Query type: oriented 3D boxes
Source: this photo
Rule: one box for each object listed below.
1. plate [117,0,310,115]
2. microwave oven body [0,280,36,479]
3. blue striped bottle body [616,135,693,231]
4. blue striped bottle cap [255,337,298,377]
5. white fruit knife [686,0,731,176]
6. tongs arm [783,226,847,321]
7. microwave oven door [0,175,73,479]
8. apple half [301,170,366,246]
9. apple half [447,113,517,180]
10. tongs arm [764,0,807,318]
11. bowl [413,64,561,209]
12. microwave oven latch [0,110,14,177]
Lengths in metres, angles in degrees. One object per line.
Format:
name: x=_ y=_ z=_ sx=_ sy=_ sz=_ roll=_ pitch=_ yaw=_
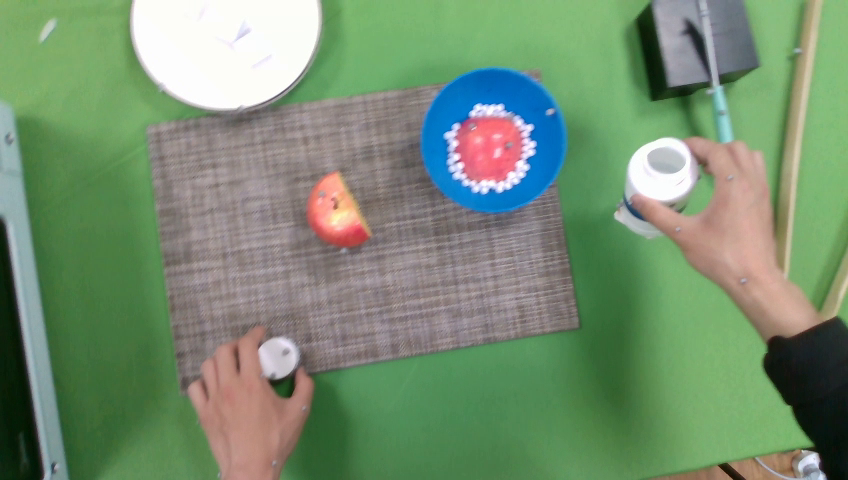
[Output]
plate: x=-0.230 y=-0.238 z=0.676 sx=0.208 sy=0.039 sz=0.207 roll=0 pitch=87 yaw=-2
microwave oven body: x=-0.570 y=0.090 z=0.532 sx=0.326 sy=0.260 sz=0.441 roll=-11 pitch=88 yaw=-3
blue striped bottle body: x=0.226 y=-0.057 z=0.597 sx=0.063 sy=0.122 sz=0.062 roll=-4 pitch=70 yaw=12
blue striped bottle cap: x=-0.162 y=0.129 z=0.666 sx=0.044 sy=0.020 sz=0.044 roll=0 pitch=84 yaw=-4
white fruit knife: x=0.311 y=-0.168 z=0.667 sx=0.016 sy=0.027 sz=0.208 roll=-15 pitch=105 yaw=15
tongs arm: x=0.501 y=-0.084 z=0.695 sx=0.051 sy=0.026 sz=0.384 roll=20 pitch=88 yaw=0
microwave oven door: x=-0.417 y=0.102 z=0.532 sx=0.039 sy=0.244 sz=0.355 roll=-12 pitch=87 yaw=-2
apple half: x=-0.102 y=-0.027 z=0.648 sx=0.053 sy=0.074 sz=0.081 roll=-29 pitch=92 yaw=1
apple half: x=0.064 y=-0.103 z=0.651 sx=0.081 sy=0.033 sz=0.081 roll=0 pitch=86 yaw=-2
tongs arm: x=0.422 y=-0.105 z=0.697 sx=0.028 sy=0.028 sz=0.387 roll=7 pitch=87 yaw=-4
bowl: x=0.063 y=-0.103 z=0.655 sx=0.151 sy=0.077 sz=0.151 roll=0 pitch=87 yaw=-1
microwave oven latch: x=-0.462 y=-0.105 z=0.643 sx=0.030 sy=0.029 sz=0.079 roll=-11 pitch=88 yaw=-3
